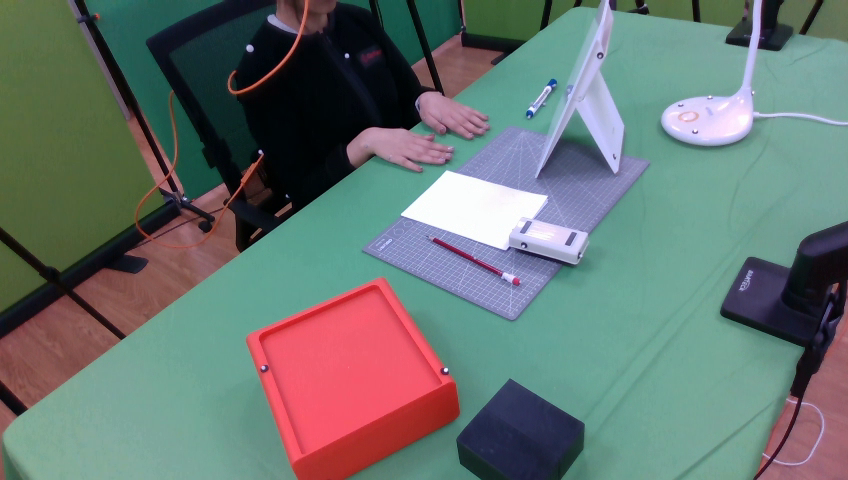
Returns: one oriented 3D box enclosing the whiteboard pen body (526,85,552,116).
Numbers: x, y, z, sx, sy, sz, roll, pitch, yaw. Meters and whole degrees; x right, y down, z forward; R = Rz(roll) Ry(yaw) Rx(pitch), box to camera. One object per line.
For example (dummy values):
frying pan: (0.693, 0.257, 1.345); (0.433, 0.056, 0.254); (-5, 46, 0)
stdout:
whiteboard pen body: (0.251, -0.305, 1.297); (0.017, 0.017, 0.141); (15, 46, 26)

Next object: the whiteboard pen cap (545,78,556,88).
whiteboard pen cap: (0.279, -0.344, 1.335); (0.018, 0.018, 0.033); (15, 45, 25)

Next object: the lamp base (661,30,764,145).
lamp base: (0.535, -0.287, 1.096); (0.179, 0.181, 0.159); (-10, 40, -4)

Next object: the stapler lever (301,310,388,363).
stapler lever: (-0.105, 0.126, 0.799); (0.118, 0.040, 0.026); (-17, 41, -15)

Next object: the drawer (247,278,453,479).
drawer: (-0.096, 0.167, 0.758); (0.195, 0.073, 0.210); (-22, 43, -16)

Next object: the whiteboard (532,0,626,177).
whiteboard: (0.321, -0.258, 1.050); (0.144, 0.306, 0.217); (21, 45, 5)

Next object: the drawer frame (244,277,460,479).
drawer frame: (-0.093, 0.167, 0.755); (0.202, 0.083, 0.211); (-23, 43, -17)

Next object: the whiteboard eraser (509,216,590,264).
whiteboard eraser: (0.191, 0.002, 0.924); (0.112, 0.042, 0.056); (16, 45, 26)

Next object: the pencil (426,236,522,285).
pencil: (0.072, 0.028, 0.941); (0.192, 0.012, 0.012); (26, 52, 37)

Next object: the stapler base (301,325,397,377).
stapler base: (-0.102, 0.143, 0.815); (0.131, 0.024, 0.041); (-18, 42, -13)
